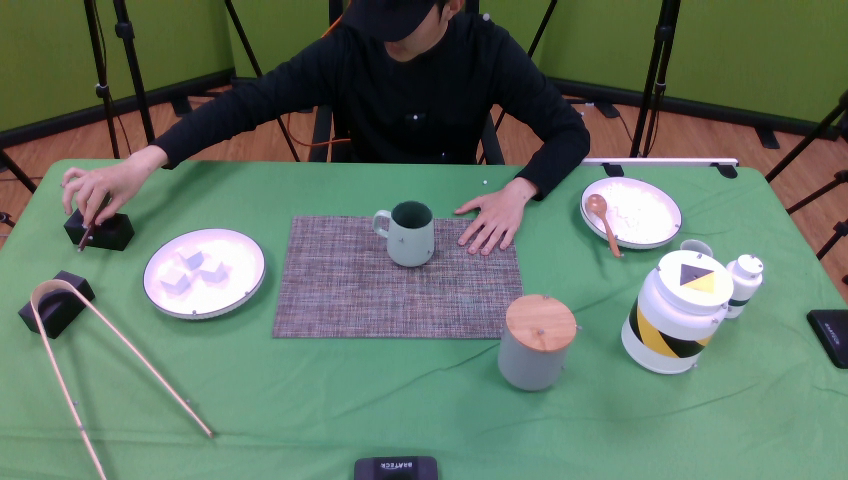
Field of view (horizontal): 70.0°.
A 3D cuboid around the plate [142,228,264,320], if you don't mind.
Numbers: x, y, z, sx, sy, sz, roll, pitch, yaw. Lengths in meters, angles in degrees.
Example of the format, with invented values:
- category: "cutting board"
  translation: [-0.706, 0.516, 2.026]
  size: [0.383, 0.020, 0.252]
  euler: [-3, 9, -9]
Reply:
- category: "plate"
  translation: [-0.394, 0.064, 1.095]
  size: [0.208, 0.039, 0.206]
  euler: [2, 46, -2]

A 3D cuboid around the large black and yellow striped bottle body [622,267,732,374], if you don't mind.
- category: "large black and yellow striped bottle body"
  translation: [0.415, 0.119, 0.997]
  size: [0.131, 0.185, 0.130]
  euler: [2, 46, -2]

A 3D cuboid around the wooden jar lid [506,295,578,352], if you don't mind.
- category: "wooden jar lid"
  translation: [0.179, 0.130, 0.925]
  size: [0.108, 0.021, 0.107]
  euler: [2, 43, -2]

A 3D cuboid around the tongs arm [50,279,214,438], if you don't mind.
- category: "tongs arm"
  translation: [-0.459, 0.178, 0.949]
  size: [0.386, 0.028, 0.028]
  euler: [37, 60, 17]

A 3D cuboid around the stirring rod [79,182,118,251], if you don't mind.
- category: "stirring rod"
  translation: [-0.605, -0.047, 1.130]
  size: [0.006, 0.014, 0.175]
  euler: [0, 47, 0]

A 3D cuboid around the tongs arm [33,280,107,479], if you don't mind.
- category: "tongs arm"
  translation: [-0.517, 0.214, 0.909]
  size: [0.051, 0.026, 0.383]
  euler: [-29, 63, -27]

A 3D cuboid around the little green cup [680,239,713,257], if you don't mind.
- category: "little green cup"
  translation: [0.530, 0.033, 1.189]
  size: [0.061, 0.039, 0.061]
  euler: [3, 48, -3]

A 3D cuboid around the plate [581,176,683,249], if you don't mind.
- category: "plate"
  translation: [0.430, -0.054, 1.267]
  size: [0.209, 0.038, 0.208]
  euler: [2, 46, -2]

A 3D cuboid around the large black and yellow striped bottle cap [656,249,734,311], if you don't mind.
- category: "large black and yellow striped bottle cap"
  translation: [0.419, 0.061, 0.938]
  size: [0.115, 0.019, 0.114]
  euler: [2, 47, -2]

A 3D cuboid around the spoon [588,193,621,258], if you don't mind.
- category: "spoon"
  translation: [0.367, -0.032, 1.220]
  size: [0.041, 0.022, 0.192]
  euler: [2, 38, -1]

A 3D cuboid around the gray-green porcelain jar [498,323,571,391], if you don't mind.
- category: "gray-green porcelain jar"
  translation: [0.176, 0.172, 0.971]
  size: [0.106, 0.127, 0.105]
  euler: [2, 46, -2]

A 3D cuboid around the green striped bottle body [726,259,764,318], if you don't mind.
- category: "green striped bottle body"
  translation: [0.563, 0.081, 1.089]
  size: [0.063, 0.120, 0.063]
  euler: [2, 46, -2]

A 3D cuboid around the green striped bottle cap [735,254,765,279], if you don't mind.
- category: "green striped bottle cap"
  translation: [0.566, 0.046, 1.051]
  size: [0.044, 0.020, 0.044]
  euler: [0, 45, 0]

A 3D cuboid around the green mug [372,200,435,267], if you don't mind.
- category: "green mug"
  translation: [-0.040, -0.016, 1.146]
  size: [0.125, 0.105, 0.092]
  euler: [17, 48, 13]
